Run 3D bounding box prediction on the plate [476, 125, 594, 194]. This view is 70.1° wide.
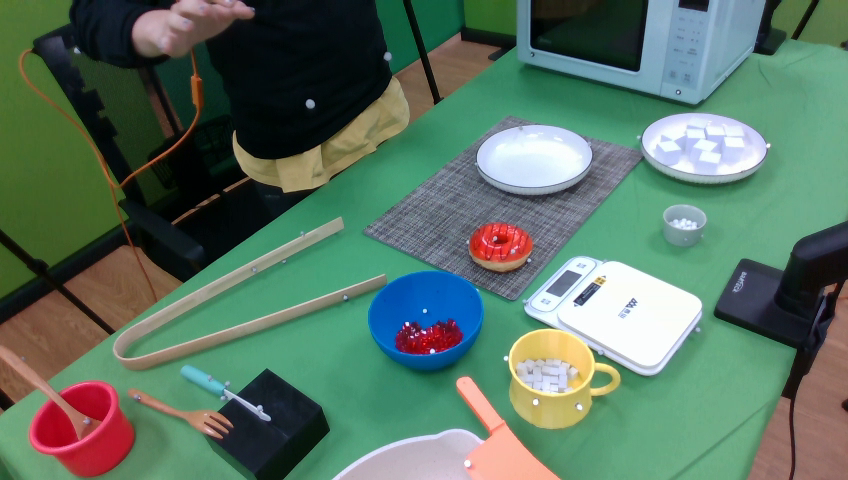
[{"bbox_3d":[0.199,-0.142,1.093,0.209,0.038,0.208,-4,39,4],"label":"plate"}]

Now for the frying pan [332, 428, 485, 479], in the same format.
[{"bbox_3d":[-0.089,0.306,0.564,0.487,0.103,0.306,10,41,7],"label":"frying pan"}]

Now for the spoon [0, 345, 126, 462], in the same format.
[{"bbox_3d":[-0.434,0.192,0.720,0.194,0.021,0.042,47,54,-7],"label":"spoon"}]

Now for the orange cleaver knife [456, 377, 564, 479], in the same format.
[{"bbox_3d":[0.081,0.220,0.611,0.077,0.012,0.209,-26,43,-22],"label":"orange cleaver knife"}]

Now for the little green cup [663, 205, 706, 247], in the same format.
[{"bbox_3d":[0.396,-0.021,0.926,0.061,0.039,0.061,-4,40,4],"label":"little green cup"}]

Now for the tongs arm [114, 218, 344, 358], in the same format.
[{"bbox_3d":[-0.280,0.067,0.926,0.386,0.026,0.050,-29,49,-23],"label":"tongs arm"}]

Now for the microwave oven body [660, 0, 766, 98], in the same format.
[{"bbox_3d":[0.472,-0.513,1.317,0.438,0.261,0.327,26,51,34],"label":"microwave oven body"}]

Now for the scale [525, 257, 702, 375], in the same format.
[{"bbox_3d":[0.254,0.091,0.821,0.199,0.032,0.149,28,51,35],"label":"scale"}]

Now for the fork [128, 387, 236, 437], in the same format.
[{"bbox_3d":[-0.305,0.207,0.744,0.206,0.019,0.028,3,41,36],"label":"fork"}]

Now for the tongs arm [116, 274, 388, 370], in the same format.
[{"bbox_3d":[-0.236,0.115,0.870,0.389,0.028,0.028,-18,49,-13],"label":"tongs arm"}]

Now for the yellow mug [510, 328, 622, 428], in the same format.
[{"bbox_3d":[0.169,0.164,0.722,0.130,0.064,0.099,0,40,8],"label":"yellow mug"}]

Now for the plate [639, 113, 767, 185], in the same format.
[{"bbox_3d":[0.489,-0.157,1.074,0.207,0.039,0.206,-4,40,4],"label":"plate"}]

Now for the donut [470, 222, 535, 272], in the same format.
[{"bbox_3d":[0.119,0.009,0.923,0.099,0.048,0.098,-4,38,4],"label":"donut"}]

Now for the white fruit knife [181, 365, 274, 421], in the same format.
[{"bbox_3d":[-0.245,0.187,0.747,0.205,0.027,0.016,9,41,40],"label":"white fruit knife"}]

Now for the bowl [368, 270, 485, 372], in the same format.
[{"bbox_3d":[0.007,0.118,0.791,0.151,0.077,0.150,-4,40,4],"label":"bowl"}]

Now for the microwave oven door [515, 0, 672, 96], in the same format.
[{"bbox_3d":[0.343,-0.454,1.259,0.353,0.245,0.039,26,51,33],"label":"microwave oven door"}]

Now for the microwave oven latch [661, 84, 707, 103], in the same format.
[{"bbox_3d":[0.517,-0.296,1.204,0.078,0.029,0.030,27,52,35],"label":"microwave oven latch"}]
